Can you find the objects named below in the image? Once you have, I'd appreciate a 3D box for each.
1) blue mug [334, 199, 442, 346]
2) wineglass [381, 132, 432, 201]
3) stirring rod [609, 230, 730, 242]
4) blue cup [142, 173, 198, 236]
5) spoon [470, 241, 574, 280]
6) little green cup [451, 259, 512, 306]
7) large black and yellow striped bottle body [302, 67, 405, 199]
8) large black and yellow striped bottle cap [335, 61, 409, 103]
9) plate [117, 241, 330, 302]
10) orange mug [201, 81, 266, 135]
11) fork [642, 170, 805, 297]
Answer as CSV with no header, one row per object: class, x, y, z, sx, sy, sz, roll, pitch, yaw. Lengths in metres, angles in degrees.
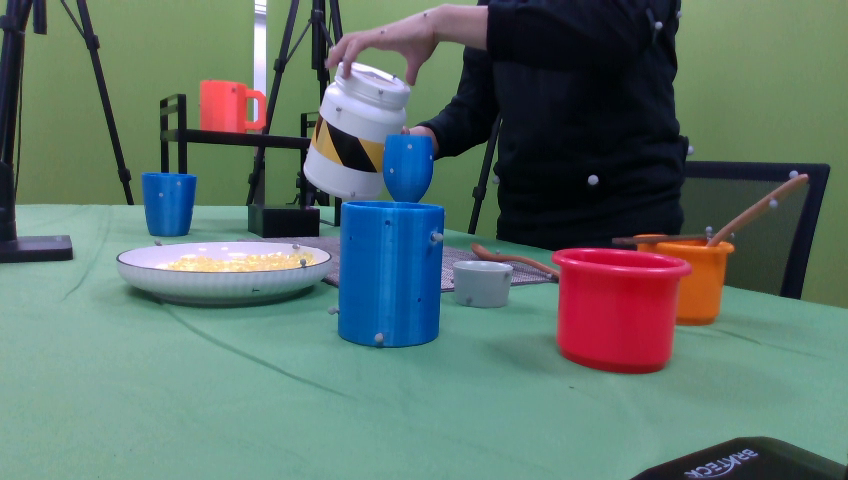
blue mug,-0.034,0.020,0.498,0.083,0.106,0.116,0,7,-20
wineglass,-0.026,-0.061,0.841,0.074,0.172,0.073,2,7,0
stirring rod,0.241,-0.004,0.582,0.177,0.006,0.014,-3,10,-33
blue cup,-0.425,-0.060,1.014,0.093,0.100,0.092,4,9,0
spoon,0.124,0.025,0.800,0.042,0.021,0.192,23,-6,-34
little green cup,0.057,0.043,0.611,0.061,0.038,0.061,3,8,0
large black and yellow striped bottle body,-0.108,-0.172,0.958,0.131,0.184,0.130,18,25,-8
large black and yellow striped bottle cap,-0.079,-0.242,0.923,0.115,0.019,0.115,18,27,-9
plate,-0.203,0.031,0.630,0.209,0.038,0.209,3,7,0
orange mug,-0.376,-0.260,1.198,0.126,0.101,0.083,-3,8,-6
fork,0.261,0.003,0.545,0.028,0.018,0.207,5,-37,-16
